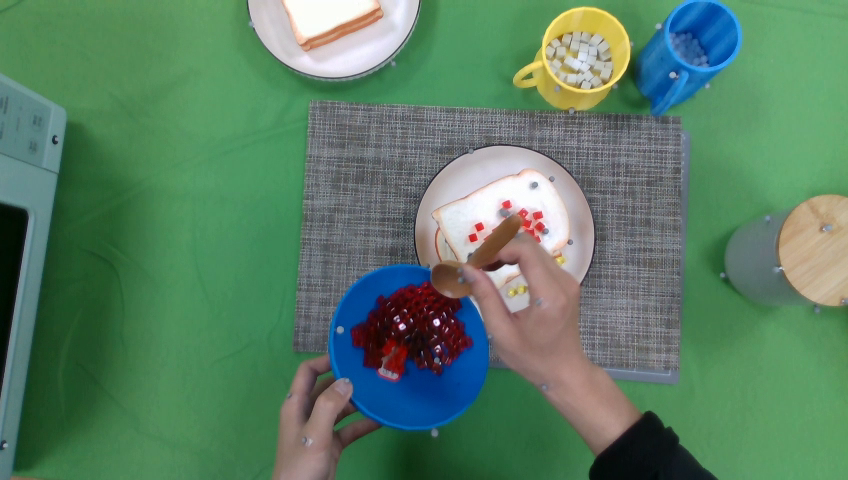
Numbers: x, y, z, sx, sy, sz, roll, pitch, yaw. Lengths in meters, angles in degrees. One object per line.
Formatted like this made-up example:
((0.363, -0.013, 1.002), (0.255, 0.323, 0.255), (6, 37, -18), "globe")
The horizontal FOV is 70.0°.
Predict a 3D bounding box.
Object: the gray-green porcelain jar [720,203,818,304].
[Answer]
((0.393, 0.017, 0.654), (0.106, 0.127, 0.105), (0, 84, 1), "gray-green porcelain jar")

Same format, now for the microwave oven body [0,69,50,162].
((-0.608, 0.023, 0.592), (0.326, 0.260, 0.440), (6, 85, 1), "microwave oven body")

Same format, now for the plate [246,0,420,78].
((-0.108, -0.293, 0.733), (0.208, 0.039, 0.207), (0, 85, 1), "plate")

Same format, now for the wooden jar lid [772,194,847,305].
((0.391, 0.009, 0.591), (0.108, 0.021, 0.108), (0, 87, -1), "wooden jar lid")

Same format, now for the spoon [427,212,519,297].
((0.037, 0.016, 0.475), (0.041, 0.194, 0.021), (35, 72, -1), "spoon")

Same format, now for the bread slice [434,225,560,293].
((0.079, 0.002, 0.701), (0.131, 0.019, 0.104), (-29, 84, -3), "bread slice")

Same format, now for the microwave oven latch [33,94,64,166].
((-0.442, -0.128, 0.701), (0.030, 0.029, 0.079), (9, 85, 1), "microwave oven latch")

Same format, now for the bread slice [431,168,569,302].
((0.085, -0.015, 0.641), (0.134, 0.018, 0.107), (-32, 91, -10), "bread slice")

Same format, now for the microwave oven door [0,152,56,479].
((-0.467, 0.079, 0.580), (0.039, 0.244, 0.355), (5, 84, 2), "microwave oven door")

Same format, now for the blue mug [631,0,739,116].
((0.285, -0.195, 0.686), (0.082, 0.106, 0.116), (25, 85, 4), "blue mug")

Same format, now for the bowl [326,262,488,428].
((-0.024, 0.104, 0.567), (0.152, 0.077, 0.150), (9, 64, -19), "bowl")

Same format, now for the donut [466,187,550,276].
((0.094, -0.009, 0.672), (0.099, 0.048, 0.099), (2, 84, -17), "donut")

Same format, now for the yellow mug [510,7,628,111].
((0.164, -0.205, 0.707), (0.131, 0.064, 0.099), (-17, 84, 0), "yellow mug")

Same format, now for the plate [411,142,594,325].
((0.089, -0.007, 0.699), (0.209, 0.038, 0.208), (0, 85, 1), "plate")
